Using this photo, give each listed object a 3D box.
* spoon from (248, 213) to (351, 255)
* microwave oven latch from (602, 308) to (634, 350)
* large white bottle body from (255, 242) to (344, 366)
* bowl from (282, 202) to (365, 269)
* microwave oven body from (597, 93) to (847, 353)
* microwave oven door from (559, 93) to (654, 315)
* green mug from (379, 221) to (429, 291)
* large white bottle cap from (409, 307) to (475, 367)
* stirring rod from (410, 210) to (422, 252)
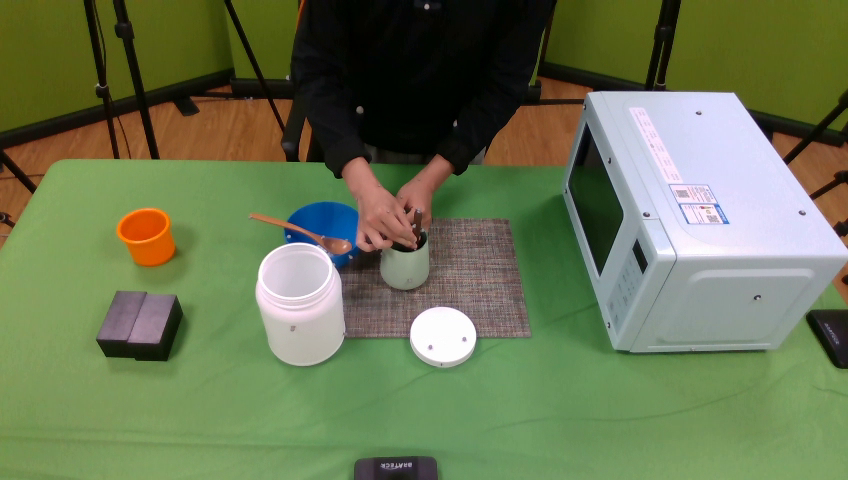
[{"bbox_3d":[-0.228,-0.014,1.113,0.194,0.022,0.041,23,40,-15],"label":"spoon"},{"bbox_3d":[0.332,0.153,1.044,0.030,0.029,0.078,-1,45,-4],"label":"microwave oven latch"},{"bbox_3d":[-0.196,0.102,0.967,0.131,0.185,0.130,2,49,-2],"label":"large white bottle body"},{"bbox_3d":[-0.186,0.006,1.136,0.151,0.077,0.150,3,46,-3],"label":"bowl"},{"bbox_3d":[0.475,-0.041,1.109,0.326,0.261,0.438,-1,45,-4],"label":"microwave oven body"},{"bbox_3d":[0.327,-0.074,1.123,0.039,0.245,0.353,-1,46,-5],"label":"microwave oven door"},{"bbox_3d":[-0.044,0.020,1.116,0.092,0.105,0.124,-20,51,-22],"label":"green mug"},{"bbox_3d":[0.031,0.165,1.041,0.115,0.018,0.114,2,47,-2],"label":"large white bottle cap"},{"bbox_3d":[-0.017,0.011,1.066,0.014,0.177,0.006,19,49,10],"label":"stirring rod"}]
